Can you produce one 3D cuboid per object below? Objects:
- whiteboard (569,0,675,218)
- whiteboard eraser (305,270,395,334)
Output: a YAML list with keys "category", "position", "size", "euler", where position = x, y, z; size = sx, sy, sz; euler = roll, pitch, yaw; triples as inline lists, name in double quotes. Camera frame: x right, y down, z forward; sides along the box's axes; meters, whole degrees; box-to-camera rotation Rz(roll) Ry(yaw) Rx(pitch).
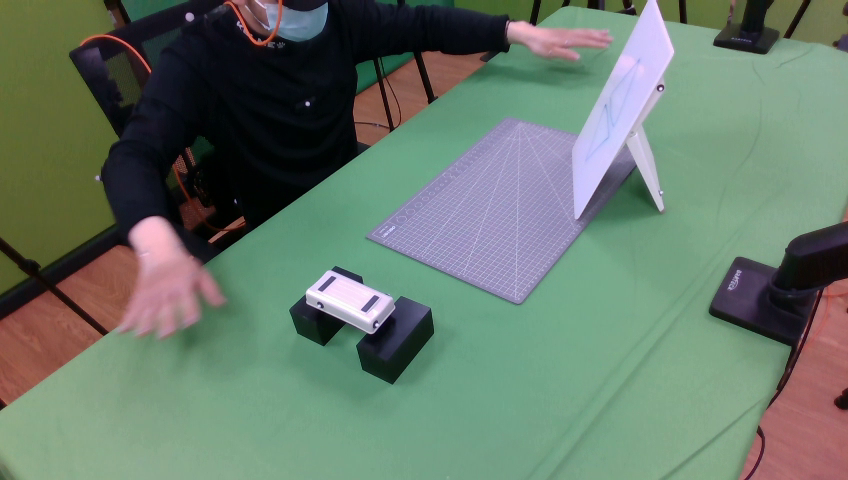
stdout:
- category: "whiteboard"
  position: [0.363, -0.187, 0.965]
  size: [0.144, 0.305, 0.216]
  euler: [18, 42, -3]
- category: "whiteboard eraser"
  position: [-0.098, 0.083, 0.799]
  size: [0.112, 0.042, 0.056]
  euler: [20, 44, 25]
